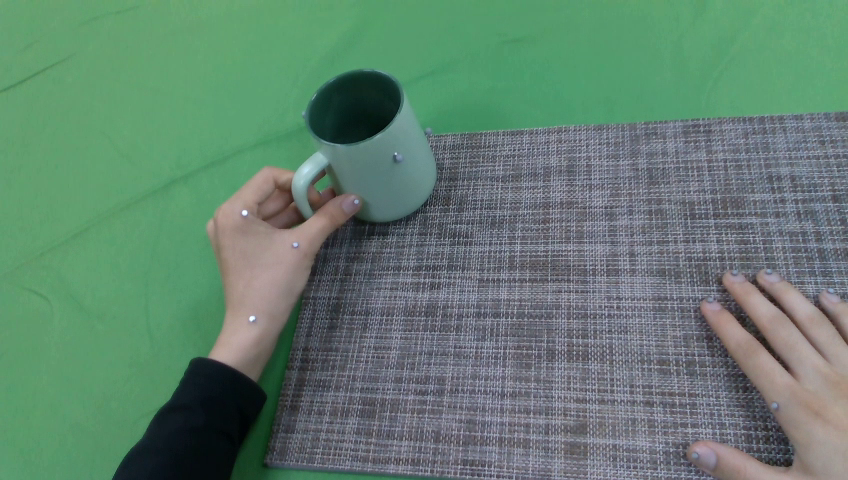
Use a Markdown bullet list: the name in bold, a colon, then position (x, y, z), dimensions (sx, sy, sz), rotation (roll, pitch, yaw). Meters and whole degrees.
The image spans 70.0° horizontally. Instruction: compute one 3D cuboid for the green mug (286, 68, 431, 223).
- **green mug**: position (-0.058, -0.065, 0.498), dimensions (0.091, 0.106, 0.125), rotation (38, 75, 29)
